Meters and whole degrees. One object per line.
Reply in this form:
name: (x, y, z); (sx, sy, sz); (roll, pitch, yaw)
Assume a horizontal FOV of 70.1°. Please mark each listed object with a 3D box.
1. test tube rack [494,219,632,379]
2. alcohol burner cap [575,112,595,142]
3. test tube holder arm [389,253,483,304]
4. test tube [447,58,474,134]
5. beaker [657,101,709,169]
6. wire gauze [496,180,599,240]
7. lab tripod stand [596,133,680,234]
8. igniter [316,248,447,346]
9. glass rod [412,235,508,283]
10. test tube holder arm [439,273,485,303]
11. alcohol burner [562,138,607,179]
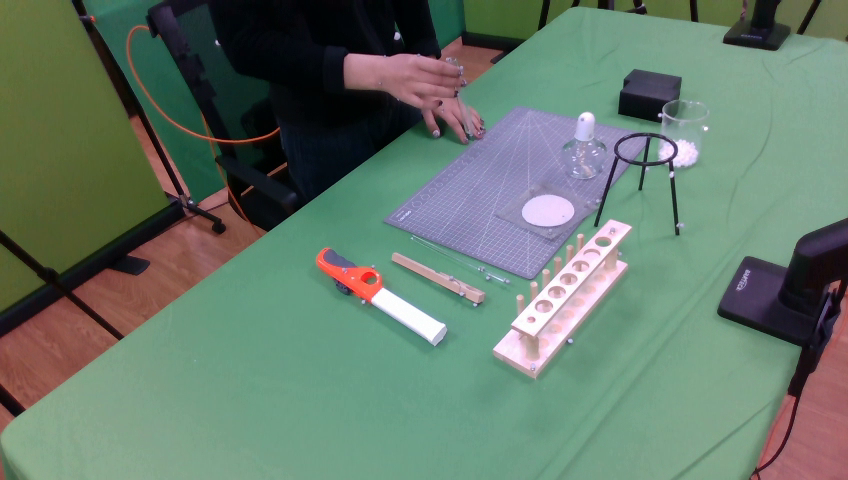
test tube rack: (0.191, 0.068, 0.818); (0.066, 0.085, 0.243); (25, 51, 35)
alcohol burner cap: (0.276, -0.194, 1.028); (0.034, 0.048, 0.033); (-2, 45, 3)
test tube holder arm: (0.015, 0.056, 0.916); (0.177, 0.015, 0.013); (24, 15, 33)
test tube: (0.064, -0.244, 1.038); (0.017, 0.151, 0.017); (-10, 45, 11)
beaker: (0.449, -0.183, 1.054); (0.073, 0.101, 0.084); (15, 46, 27)
wire gauze: (0.206, -0.050, 1.012); (0.125, 0.011, 0.120); (-34, 45, -26)
lab tripod stand: (0.338, -0.091, 0.940); (0.148, 0.132, 0.147); (-7, 39, 6)
igniter: (-0.074, 0.078, 0.902); (0.274, 0.025, 0.057); (28, 63, 36)
glass rod: (0.051, 0.028, 0.951); (0.198, 0.008, 0.008); (25, 52, 37)
test tube holder arm: (0.053, 0.070, 0.896); (0.087, 0.015, 0.010); (24, 15, 34)
alcohol burner: (0.280, -0.167, 1.052); (0.078, 0.119, 0.077); (-5, 38, 4)
